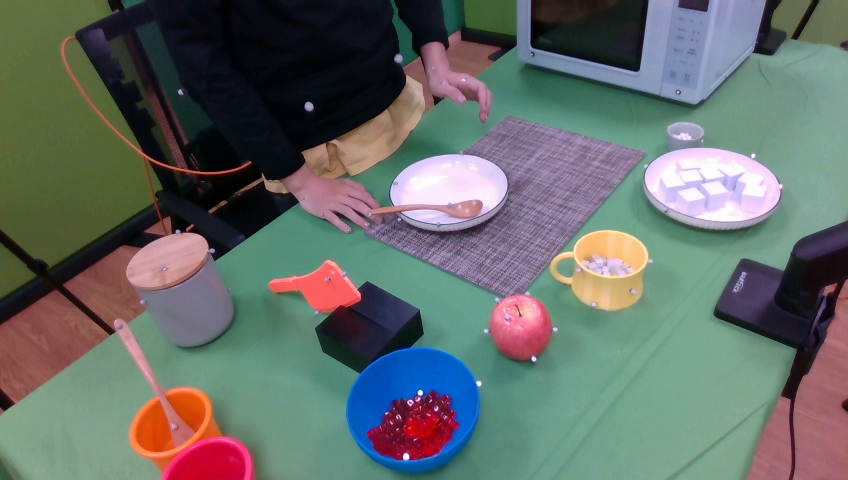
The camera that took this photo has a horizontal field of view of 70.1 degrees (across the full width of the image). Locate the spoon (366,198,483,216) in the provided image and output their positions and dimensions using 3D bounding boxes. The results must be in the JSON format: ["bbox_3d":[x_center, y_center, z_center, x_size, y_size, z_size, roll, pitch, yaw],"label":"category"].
[{"bbox_3d":[0.002,-0.055,0.996,0.194,0.022,0.041,-1,45,-10],"label":"spoon"}]

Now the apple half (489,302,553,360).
[{"bbox_3d":[0.127,0.123,0.772,0.081,0.075,0.053,-8,44,-6],"label":"apple half"}]

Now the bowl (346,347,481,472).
[{"bbox_3d":[-0.008,0.205,0.691,0.151,0.077,0.150,-4,40,4],"label":"bowl"}]

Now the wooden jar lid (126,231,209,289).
[{"bbox_3d":[-0.340,0.030,0.808,0.108,0.021,0.108,-5,39,5],"label":"wooden jar lid"}]

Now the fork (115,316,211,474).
[{"bbox_3d":[-0.308,0.179,0.707,0.028,0.018,0.207,-30,89,-21],"label":"fork"}]

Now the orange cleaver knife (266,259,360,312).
[{"bbox_3d":[-0.161,0.070,0.859,0.210,0.077,0.012,-13,22,49],"label":"orange cleaver knife"}]

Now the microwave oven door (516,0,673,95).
[{"bbox_3d":[0.344,-0.458,1.256,0.353,0.245,0.039,26,51,33],"label":"microwave oven door"}]

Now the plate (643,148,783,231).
[{"bbox_3d":[0.464,-0.080,0.986,0.207,0.039,0.206,-4,41,4],"label":"plate"}]

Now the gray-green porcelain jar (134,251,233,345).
[{"bbox_3d":[-0.334,0.076,0.849,0.106,0.127,0.105,-4,41,4],"label":"gray-green porcelain jar"}]

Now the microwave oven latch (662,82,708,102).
[{"bbox_3d":[0.517,-0.298,1.202,0.078,0.029,0.030,26,52,34],"label":"microwave oven latch"}]

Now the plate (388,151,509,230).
[{"bbox_3d":[0.044,-0.082,1.042,0.209,0.038,0.208,-4,40,4],"label":"plate"}]

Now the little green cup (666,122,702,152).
[{"bbox_3d":[0.471,-0.184,1.102,0.061,0.039,0.061,-5,41,5],"label":"little green cup"}]

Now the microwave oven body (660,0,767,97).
[{"bbox_3d":[0.473,-0.516,1.314,0.438,0.261,0.327,26,51,34],"label":"microwave oven body"}]

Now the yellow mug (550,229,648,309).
[{"bbox_3d":[0.245,0.040,0.857,0.130,0.064,0.099,1,42,11],"label":"yellow mug"}]

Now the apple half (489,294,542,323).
[{"bbox_3d":[0.120,0.098,0.800,0.081,0.081,0.032,-10,44,-4],"label":"apple half"}]
